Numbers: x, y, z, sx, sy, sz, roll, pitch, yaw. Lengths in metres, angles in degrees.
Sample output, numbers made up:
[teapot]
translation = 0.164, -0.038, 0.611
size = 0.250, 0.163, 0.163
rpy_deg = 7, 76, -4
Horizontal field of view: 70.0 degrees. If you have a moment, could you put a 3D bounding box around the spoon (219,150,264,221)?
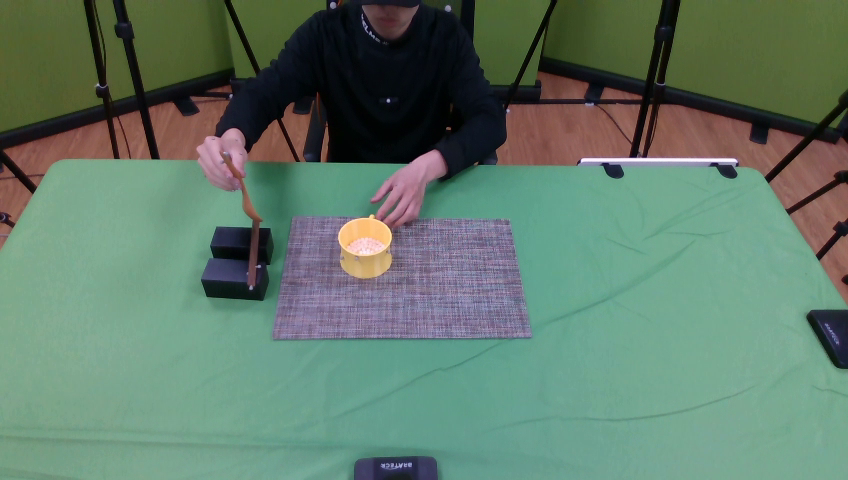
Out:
[spoon]
translation = -0.315, -0.090, 1.043
size = 0.041, 0.195, 0.021
rpy_deg = 33, 63, 24

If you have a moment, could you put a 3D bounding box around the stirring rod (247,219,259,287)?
[stirring rod]
translation = -0.309, 0.017, 1.097
size = 0.014, 0.006, 0.175
rpy_deg = 24, 36, -31

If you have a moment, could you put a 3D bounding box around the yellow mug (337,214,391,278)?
[yellow mug]
translation = -0.110, 0.003, 1.152
size = 0.100, 0.064, 0.130
rpy_deg = 7, 45, 2
